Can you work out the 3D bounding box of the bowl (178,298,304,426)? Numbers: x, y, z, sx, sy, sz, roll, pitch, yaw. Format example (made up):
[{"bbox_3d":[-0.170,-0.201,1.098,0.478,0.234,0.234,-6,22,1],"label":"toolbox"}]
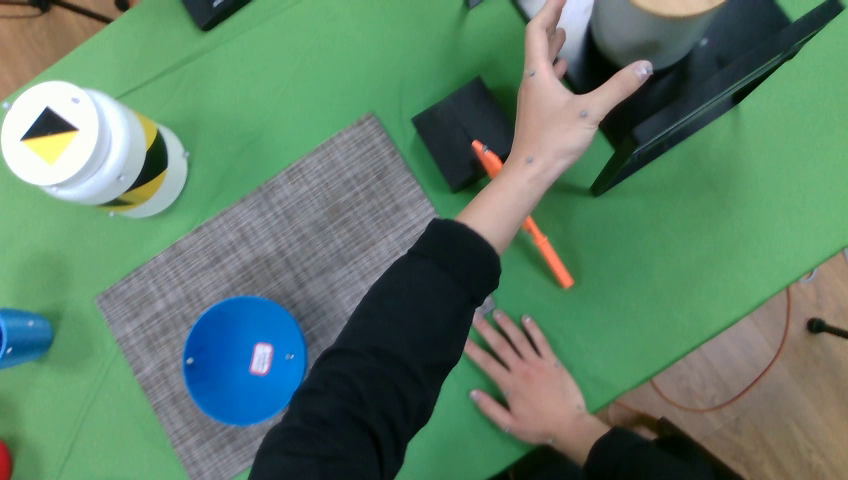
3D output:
[{"bbox_3d":[-0.212,0.146,0.748,0.151,0.077,0.151,-1,84,6],"label":"bowl"}]

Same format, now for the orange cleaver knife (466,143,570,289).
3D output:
[{"bbox_3d":[0.113,-0.028,0.730,0.012,0.076,0.213,-37,111,-2],"label":"orange cleaver knife"}]

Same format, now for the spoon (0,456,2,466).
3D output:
[{"bbox_3d":[-0.639,0.314,0.750,0.194,0.021,0.041,-15,78,-39],"label":"spoon"}]

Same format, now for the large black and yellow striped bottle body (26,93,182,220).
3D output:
[{"bbox_3d":[-0.401,-0.100,0.743,0.130,0.184,0.130,-1,83,7],"label":"large black and yellow striped bottle body"}]

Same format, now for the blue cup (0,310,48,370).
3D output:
[{"bbox_3d":[-0.545,0.128,0.778,0.092,0.100,0.092,0,84,4],"label":"blue cup"}]

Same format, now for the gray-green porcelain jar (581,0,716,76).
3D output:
[{"bbox_3d":[0.197,-0.212,0.535,0.106,0.127,0.105,-1,84,7],"label":"gray-green porcelain jar"}]

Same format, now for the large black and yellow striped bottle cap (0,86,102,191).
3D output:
[{"bbox_3d":[-0.410,-0.111,0.660,0.115,0.019,0.114,-1,86,7],"label":"large black and yellow striped bottle cap"}]

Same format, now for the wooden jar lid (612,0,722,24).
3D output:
[{"bbox_3d":[0.190,-0.219,0.473,0.108,0.021,0.108,-1,85,9],"label":"wooden jar lid"}]
